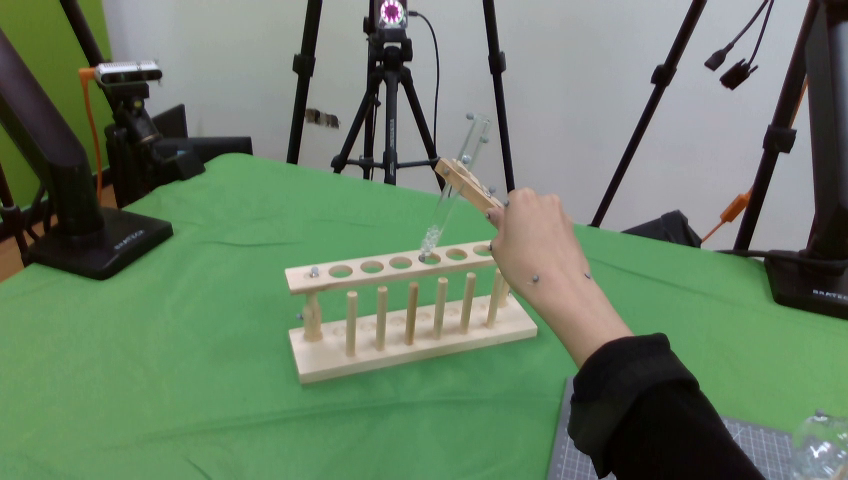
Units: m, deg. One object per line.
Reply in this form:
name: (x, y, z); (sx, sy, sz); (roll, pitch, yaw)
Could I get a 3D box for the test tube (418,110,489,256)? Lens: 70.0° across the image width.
test tube: (0.025, -0.047, 0.550); (0.017, 0.151, 0.017); (17, 30, -10)

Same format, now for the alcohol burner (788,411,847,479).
alcohol burner: (0.323, 0.150, 0.451); (0.078, 0.120, 0.077); (3, 33, -2)

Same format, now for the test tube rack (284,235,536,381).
test tube rack: (-0.007, 0.061, 0.590); (0.243, 0.086, 0.066); (-8, 33, -19)

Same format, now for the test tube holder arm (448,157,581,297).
test tube holder arm: (0.069, -0.017, 0.506); (0.013, 0.015, 0.176); (-6, 42, -38)

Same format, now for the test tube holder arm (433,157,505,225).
test tube holder arm: (0.040, -0.043, 0.527); (0.010, 0.015, 0.087); (-14, 47, -45)

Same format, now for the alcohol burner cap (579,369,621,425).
alcohol burner cap: (0.155, 0.133, 0.527); (0.034, 0.048, 0.033); (3, 33, -2)
